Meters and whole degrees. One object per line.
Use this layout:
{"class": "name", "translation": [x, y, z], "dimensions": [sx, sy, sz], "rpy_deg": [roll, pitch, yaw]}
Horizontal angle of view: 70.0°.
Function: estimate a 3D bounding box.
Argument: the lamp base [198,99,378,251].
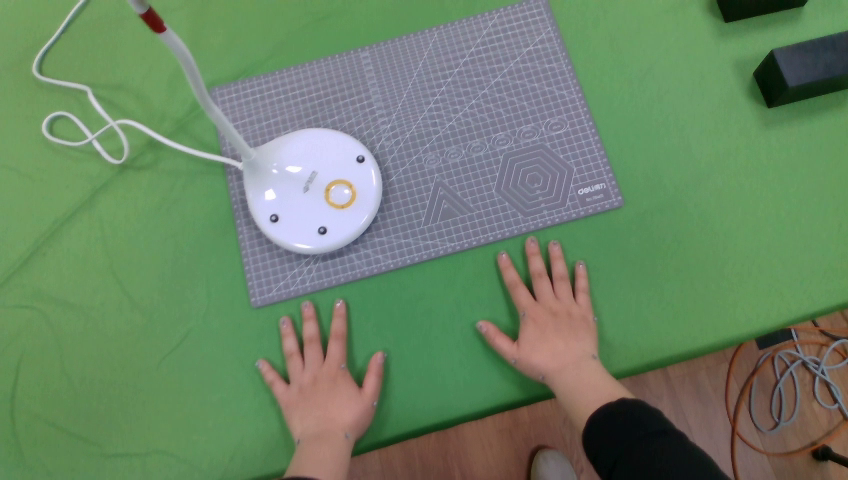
{"class": "lamp base", "translation": [-0.153, -0.087, 0.649], "dimensions": [0.179, 0.181, 0.160], "rpy_deg": [10, 75, 10]}
